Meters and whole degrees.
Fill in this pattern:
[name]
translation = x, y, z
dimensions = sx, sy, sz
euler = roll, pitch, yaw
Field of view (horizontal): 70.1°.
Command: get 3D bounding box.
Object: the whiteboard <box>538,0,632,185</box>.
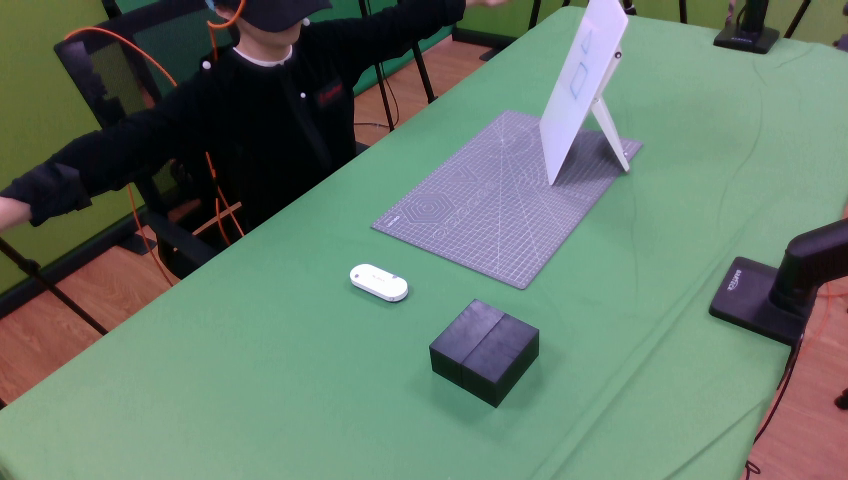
[whiteboard]
translation = 0.327, -0.259, 1.055
dimensions = 0.144, 0.305, 0.216
euler = 13, 40, -6

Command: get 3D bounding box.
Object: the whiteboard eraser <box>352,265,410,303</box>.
[whiteboard eraser]
translation = -0.066, 0.065, 0.914
dimensions = 0.100, 0.019, 0.041
euler = 21, 49, 31
